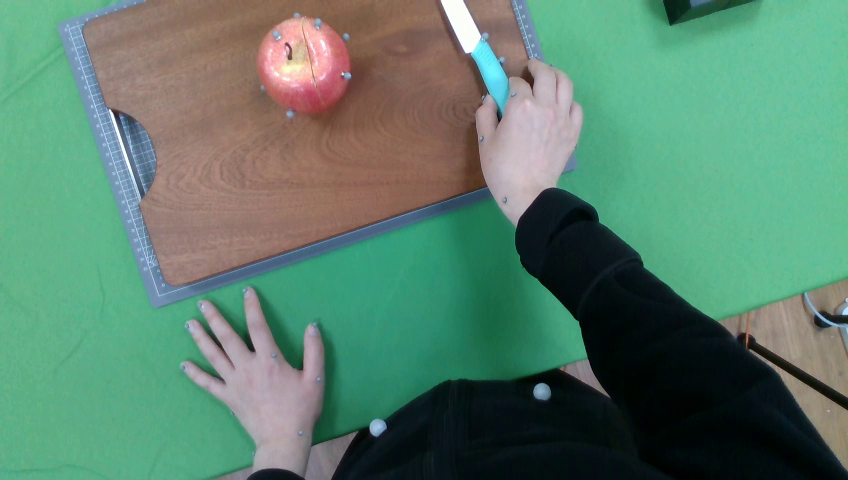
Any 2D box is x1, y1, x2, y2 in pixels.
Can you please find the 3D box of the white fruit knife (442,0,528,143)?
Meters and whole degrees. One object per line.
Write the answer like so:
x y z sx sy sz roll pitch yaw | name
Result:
0.048 -0.190 0.574 0.027 0.016 0.207 -26 91 -7 | white fruit knife

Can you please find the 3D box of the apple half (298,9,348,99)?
-0.084 -0.167 0.543 0.033 0.081 0.081 -13 91 2 | apple half

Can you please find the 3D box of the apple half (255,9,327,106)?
-0.121 -0.159 0.544 0.053 0.074 0.081 -13 95 4 | apple half
